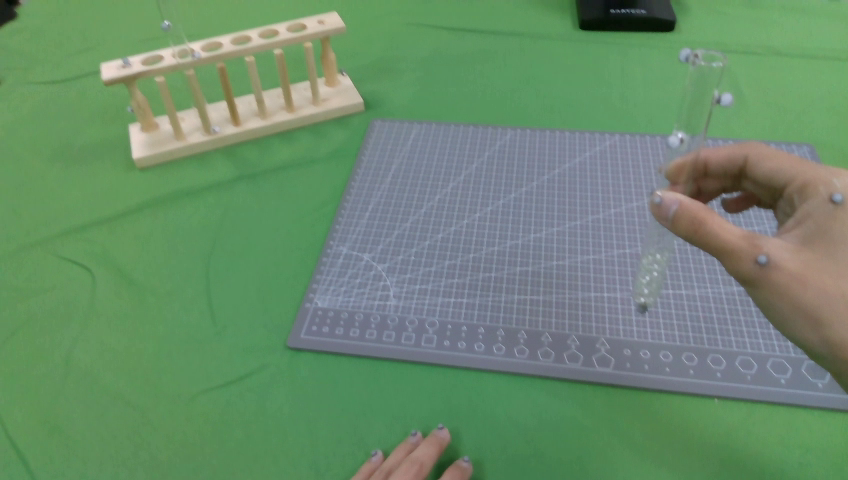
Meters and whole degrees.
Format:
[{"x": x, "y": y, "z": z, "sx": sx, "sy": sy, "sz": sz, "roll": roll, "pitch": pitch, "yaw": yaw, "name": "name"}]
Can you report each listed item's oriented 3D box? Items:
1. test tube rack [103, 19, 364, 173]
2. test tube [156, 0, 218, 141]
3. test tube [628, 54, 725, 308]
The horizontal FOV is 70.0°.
[{"x": -0.192, "y": -0.154, "z": 0.637, "sx": 0.243, "sy": 0.086, "sz": 0.066, "roll": -18, "pitch": 47, "yaw": -14, "name": "test tube rack"}, {"x": -0.226, "y": -0.161, "z": 0.583, "sx": 0.017, "sy": 0.152, "sz": 0.017, "roll": -1, "pitch": 44, "yaw": 2, "name": "test tube"}, {"x": 0.125, "y": -0.020, "z": 0.309, "sx": 0.017, "sy": 0.151, "sz": 0.017, "roll": -1, "pitch": 39, "yaw": 1, "name": "test tube"}]
